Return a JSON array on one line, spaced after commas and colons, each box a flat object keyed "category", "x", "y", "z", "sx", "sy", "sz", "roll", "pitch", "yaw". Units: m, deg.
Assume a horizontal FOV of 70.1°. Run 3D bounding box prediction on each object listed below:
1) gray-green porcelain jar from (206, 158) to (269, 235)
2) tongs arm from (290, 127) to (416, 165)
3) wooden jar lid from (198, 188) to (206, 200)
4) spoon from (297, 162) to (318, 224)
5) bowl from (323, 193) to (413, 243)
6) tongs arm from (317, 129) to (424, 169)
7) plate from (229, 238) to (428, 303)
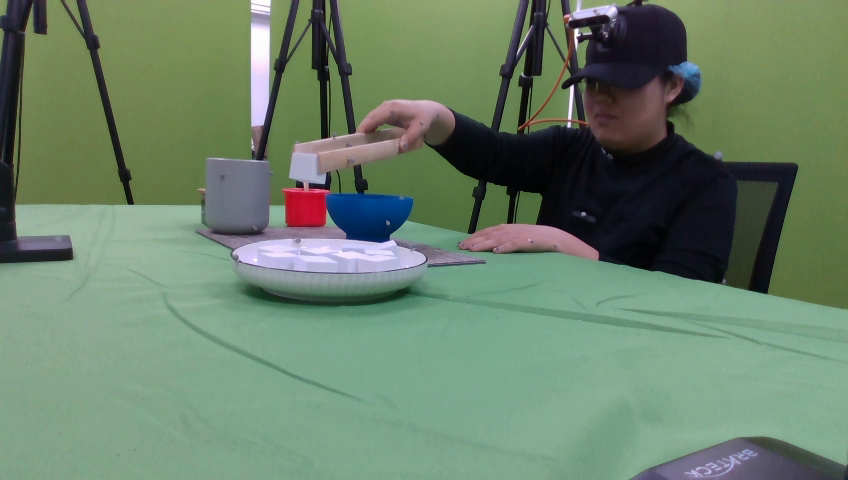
[{"category": "gray-green porcelain jar", "x": -0.322, "y": -0.076, "z": 1.048, "sx": 0.106, "sy": 0.126, "sz": 0.106, "roll": 3, "pitch": 7, "yaw": 0}, {"category": "tongs arm", "x": -0.085, "y": -0.142, "z": 0.885, "sx": 0.050, "sy": 0.026, "sz": 0.385, "roll": 9, "pitch": 16, "yaw": 12}, {"category": "wooden jar lid", "x": -0.382, "y": -0.088, "z": 1.175, "sx": 0.108, "sy": 0.020, "sz": 0.108, "roll": 3, "pitch": 8, "yaw": 0}, {"category": "spoon", "x": -0.244, "y": -0.103, "z": 1.251, "sx": 0.042, "sy": 0.021, "sz": 0.193, "roll": 1, "pitch": 51, "yaw": -17}, {"category": "bowl", "x": -0.094, "y": -0.037, "z": 1.015, "sx": 0.151, "sy": 0.077, "sz": 0.151, "roll": 2, "pitch": 7, "yaw": 0}, {"category": "tongs arm", "x": -0.063, "y": -0.137, "z": 0.879, "sx": 0.028, "sy": 0.028, "sz": 0.388, "roll": 7, "pitch": 15, "yaw": 17}, {"category": "plate", "x": -0.099, "y": 0.032, "z": 0.651, "sx": 0.209, "sy": 0.038, "sz": 0.209, "roll": 3, "pitch": 8, "yaw": 0}]
